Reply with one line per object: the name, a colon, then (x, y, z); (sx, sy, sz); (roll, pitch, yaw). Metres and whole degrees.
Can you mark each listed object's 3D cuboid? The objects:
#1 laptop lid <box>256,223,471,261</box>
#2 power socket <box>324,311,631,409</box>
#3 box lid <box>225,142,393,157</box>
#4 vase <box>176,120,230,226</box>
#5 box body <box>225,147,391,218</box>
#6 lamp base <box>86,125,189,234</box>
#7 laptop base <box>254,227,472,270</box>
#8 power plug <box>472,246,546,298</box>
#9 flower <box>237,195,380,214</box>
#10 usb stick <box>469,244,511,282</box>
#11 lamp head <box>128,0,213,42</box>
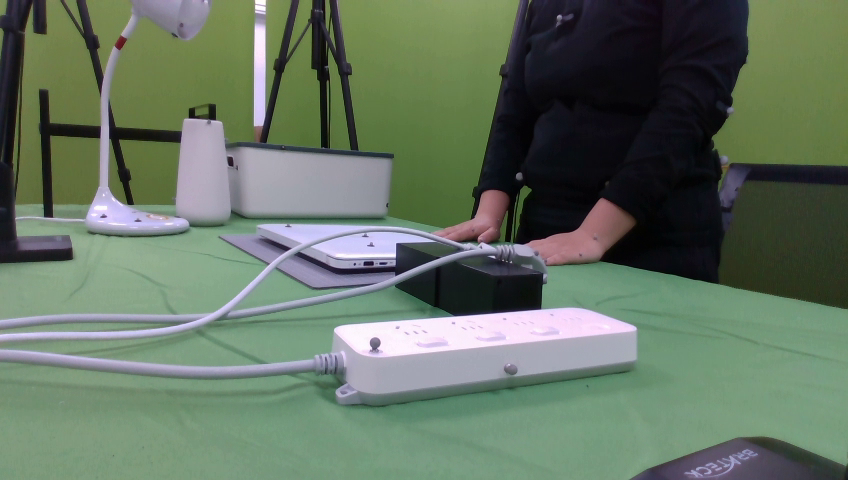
laptop lid: (-0.092, 0.000, 0.912); (0.243, 0.013, 0.355); (2, 7, -30)
power socket: (0.042, 0.075, 0.410); (0.228, 0.032, 0.072); (-1, 8, -25)
box lid: (-0.286, -0.216, 1.464); (0.373, 0.015, 0.262); (-1, 7, -28)
vase: (-0.425, -0.128, 1.159); (0.098, 0.200, 0.098); (2, 9, 0)
box body: (-0.289, -0.143, 1.475); (0.366, 0.160, 0.253); (-1, 9, -29)
lamp base: (-0.497, -0.105, 1.027); (0.179, 0.180, 0.160); (1, 7, 3)
laptop base: (-0.095, 0.011, 0.912); (0.237, 0.023, 0.352); (2, 6, -32)
power plug: (0.081, 0.030, 0.584); (0.072, 0.052, 0.035); (12, 28, 9)
flower: (-0.284, -0.080, 1.481); (0.361, 0.038, 0.044); (5, 34, 7)
usb stick: (0.080, 0.029, 0.674); (0.059, 0.021, 0.027); (28, 27, -31)
lamp head: (-0.423, -0.394, 0.980); (0.123, 0.112, 0.112); (20, 7, -3)
